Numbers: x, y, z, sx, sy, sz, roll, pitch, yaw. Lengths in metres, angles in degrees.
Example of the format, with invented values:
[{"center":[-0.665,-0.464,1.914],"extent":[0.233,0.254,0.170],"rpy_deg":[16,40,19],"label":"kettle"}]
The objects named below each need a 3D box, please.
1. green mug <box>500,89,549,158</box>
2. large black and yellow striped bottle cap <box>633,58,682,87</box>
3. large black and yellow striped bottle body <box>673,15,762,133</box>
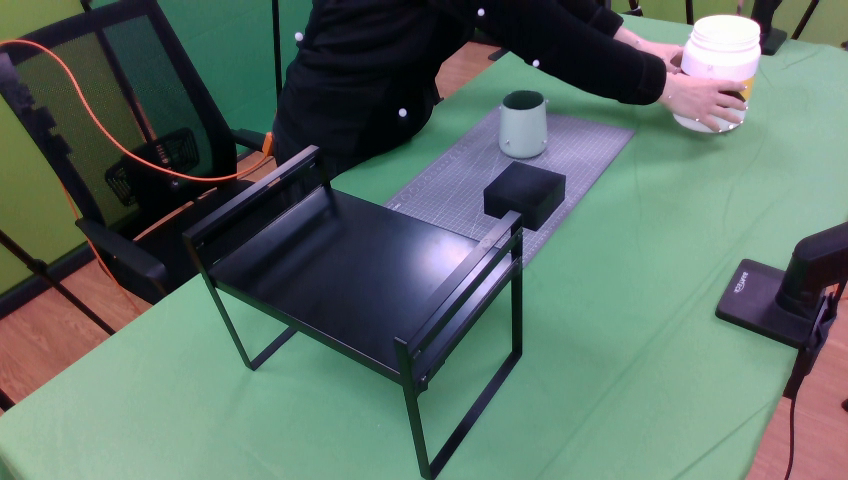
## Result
[{"center":[0.196,-0.227,1.145],"extent":[0.092,0.105,0.125],"rpy_deg":[14,45,24],"label":"green mug"},{"center":[0.522,-0.370,1.332],"extent":[0.115,0.019,0.114],"rpy_deg":[-3,41,3],"label":"large black and yellow striped bottle cap"},{"center":[0.548,-0.309,1.128],"extent":[0.131,0.185,0.130],"rpy_deg":[-4,41,4],"label":"large black and yellow striped bottle body"}]
